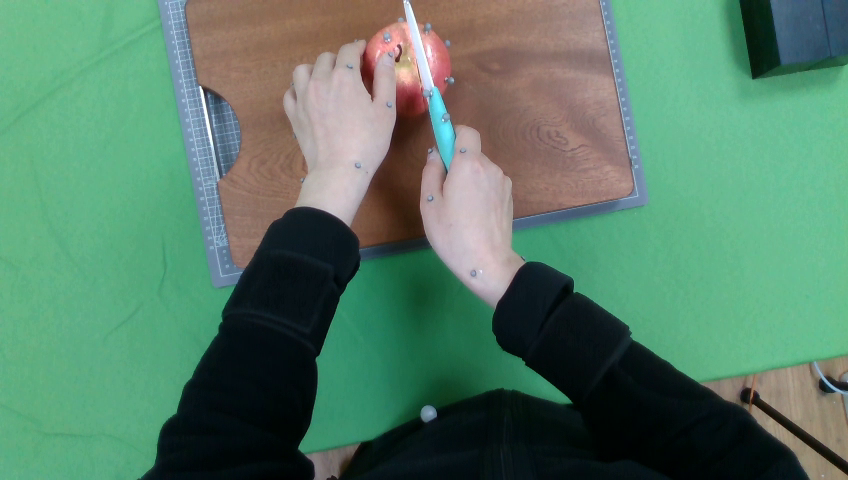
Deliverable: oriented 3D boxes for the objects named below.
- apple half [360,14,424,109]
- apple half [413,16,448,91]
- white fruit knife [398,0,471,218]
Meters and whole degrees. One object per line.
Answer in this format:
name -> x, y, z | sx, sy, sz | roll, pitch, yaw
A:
apple half -> -0.031, -0.158, 0.554 | 0.053, 0.074, 0.081 | -13, 93, 3
apple half -> 0.006, -0.165, 0.554 | 0.033, 0.081, 0.081 | -11, 89, 2
white fruit knife -> 0.005, -0.120, 0.501 | 0.016, 0.027, 0.207 | -15, 87, -21
